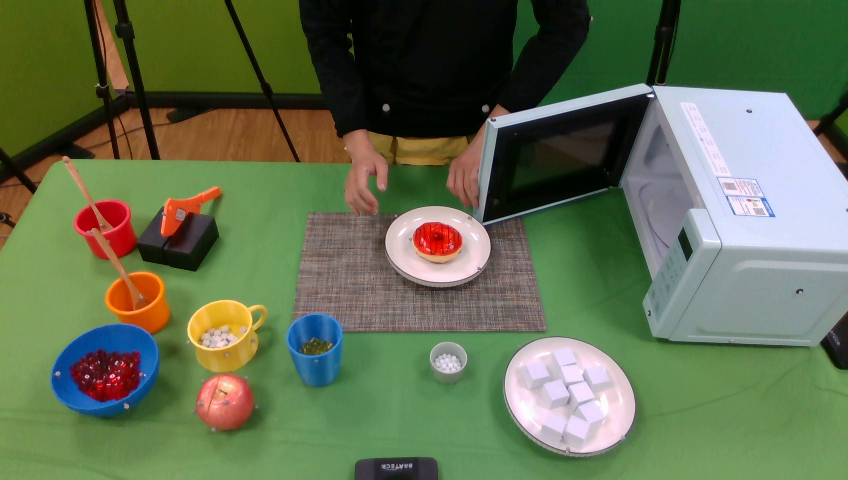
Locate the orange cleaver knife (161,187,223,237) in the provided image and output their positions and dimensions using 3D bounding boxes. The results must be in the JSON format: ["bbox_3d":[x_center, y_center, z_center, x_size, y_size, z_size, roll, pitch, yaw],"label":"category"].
[{"bbox_3d":[-0.448,-0.058,1.180,0.012,0.077,0.211,13,17,6],"label":"orange cleaver knife"}]

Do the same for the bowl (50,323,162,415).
[{"bbox_3d":[-0.472,0.209,0.924,0.151,0.077,0.150,3,45,-2],"label":"bowl"}]

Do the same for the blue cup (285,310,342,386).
[{"bbox_3d":[-0.170,0.179,0.959,0.093,0.101,0.092,1,44,-1],"label":"blue cup"}]

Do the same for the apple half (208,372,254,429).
[{"bbox_3d":[-0.282,0.244,0.908,0.053,0.075,0.080,7,42,-1],"label":"apple half"}]

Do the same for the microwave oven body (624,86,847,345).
[{"bbox_3d":[0.567,-0.053,1.118,0.326,0.261,0.439,2,45,-1],"label":"microwave oven body"}]

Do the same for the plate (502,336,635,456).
[{"bbox_3d":[0.225,0.248,0.963,0.208,0.039,0.206,2,46,-2],"label":"plate"}]

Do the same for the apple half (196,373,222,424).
[{"bbox_3d":[-0.322,0.239,0.907,0.033,0.081,0.081,7,46,-1],"label":"apple half"}]

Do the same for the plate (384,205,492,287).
[{"bbox_3d":[0.027,0.015,1.169,0.209,0.038,0.208,2,46,-2],"label":"plate"}]

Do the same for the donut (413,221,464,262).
[{"bbox_3d":[0.027,0.003,1.166,0.099,0.048,0.098,3,43,-3],"label":"donut"}]

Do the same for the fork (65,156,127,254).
[{"bbox_3d":[-0.614,-0.064,1.130,0.028,0.018,0.207,-29,97,-16],"label":"fork"}]

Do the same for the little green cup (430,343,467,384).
[{"bbox_3d":[0.039,0.203,0.994,0.061,0.039,0.061,2,46,-2],"label":"little green cup"}]

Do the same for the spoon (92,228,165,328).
[{"bbox_3d":[-0.495,0.063,1.014,0.041,0.194,0.021,-34,12,-31],"label":"spoon"}]

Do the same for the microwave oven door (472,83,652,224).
[{"bbox_3d":[0.272,-0.171,1.205,0.356,0.245,0.039,-16,49,-18],"label":"microwave oven door"}]

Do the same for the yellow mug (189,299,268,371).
[{"bbox_3d":[-0.316,0.148,1.002,0.131,0.064,0.099,-33,56,-32],"label":"yellow mug"}]

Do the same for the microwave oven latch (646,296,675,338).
[{"bbox_3d":[0.412,0.134,1.061,0.030,0.029,0.078,4,45,0],"label":"microwave oven latch"}]
